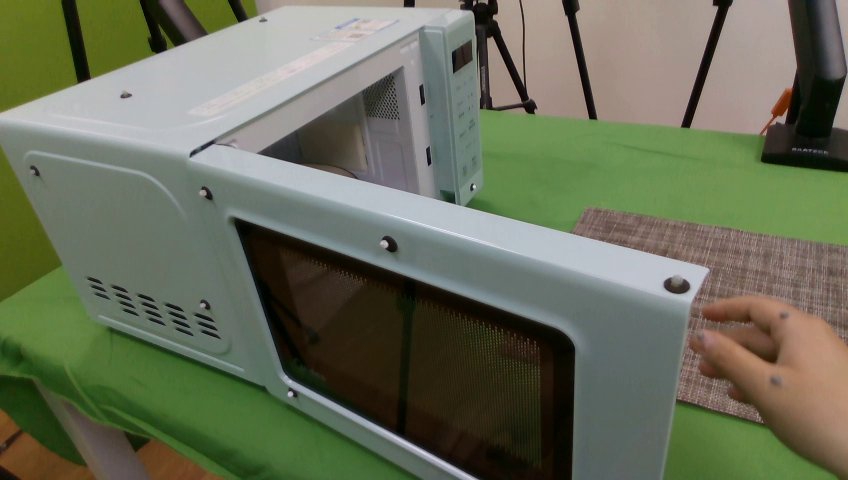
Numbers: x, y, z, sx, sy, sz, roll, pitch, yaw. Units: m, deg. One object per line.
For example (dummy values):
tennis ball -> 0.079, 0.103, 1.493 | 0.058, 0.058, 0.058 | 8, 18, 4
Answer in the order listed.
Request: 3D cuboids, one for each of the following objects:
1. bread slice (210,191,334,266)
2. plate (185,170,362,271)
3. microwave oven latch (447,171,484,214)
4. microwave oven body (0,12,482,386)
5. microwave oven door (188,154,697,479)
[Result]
bread slice -> -0.177, -0.021, 0.728 | 0.104, 0.019, 0.131 | 20, 42, 34
plate -> -0.174, -0.022, 0.725 | 0.209, 0.038, 0.207 | -6, 32, 4
microwave oven latch -> 0.056, -0.068, 0.837 | 0.030, 0.030, 0.079 | 13, 38, 28
microwave oven body -> -0.169, -0.086, 0.726 | 0.324, 0.262, 0.440 | 12, 37, 27
microwave oven door -> -0.010, 0.080, 0.416 | 0.353, 0.246, 0.039 | 16, 39, 33
